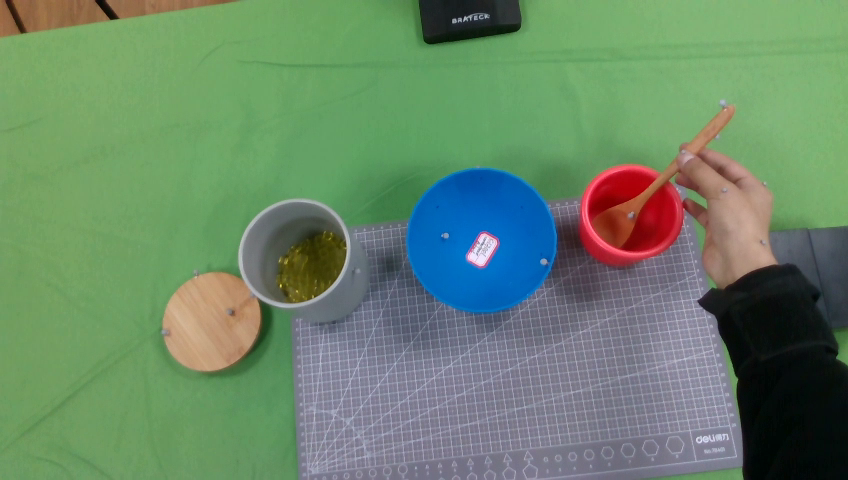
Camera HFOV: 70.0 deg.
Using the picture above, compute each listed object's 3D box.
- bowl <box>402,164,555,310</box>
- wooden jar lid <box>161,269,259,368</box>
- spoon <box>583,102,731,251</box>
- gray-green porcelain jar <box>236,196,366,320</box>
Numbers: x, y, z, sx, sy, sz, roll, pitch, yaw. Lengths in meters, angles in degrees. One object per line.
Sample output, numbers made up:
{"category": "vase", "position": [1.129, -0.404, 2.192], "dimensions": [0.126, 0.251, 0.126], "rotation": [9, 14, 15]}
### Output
{"category": "bowl", "position": [0.056, 0.005, 0.633], "dimensions": [0.151, 0.077, 0.150], "rotation": [-1, 76, 4]}
{"category": "wooden jar lid", "position": [-0.233, 0.086, 0.666], "dimensions": [0.108, 0.021, 0.108], "rotation": [-1, 76, 5]}
{"category": "spoon", "position": [0.228, -0.058, 0.601], "dimensions": [0.041, 0.194, 0.021], "rotation": [45, 38, 10]}
{"category": "gray-green porcelain jar", "position": [-0.117, 0.024, 0.615], "dimensions": [0.106, 0.127, 0.105], "rotation": [-1, 75, 4]}
